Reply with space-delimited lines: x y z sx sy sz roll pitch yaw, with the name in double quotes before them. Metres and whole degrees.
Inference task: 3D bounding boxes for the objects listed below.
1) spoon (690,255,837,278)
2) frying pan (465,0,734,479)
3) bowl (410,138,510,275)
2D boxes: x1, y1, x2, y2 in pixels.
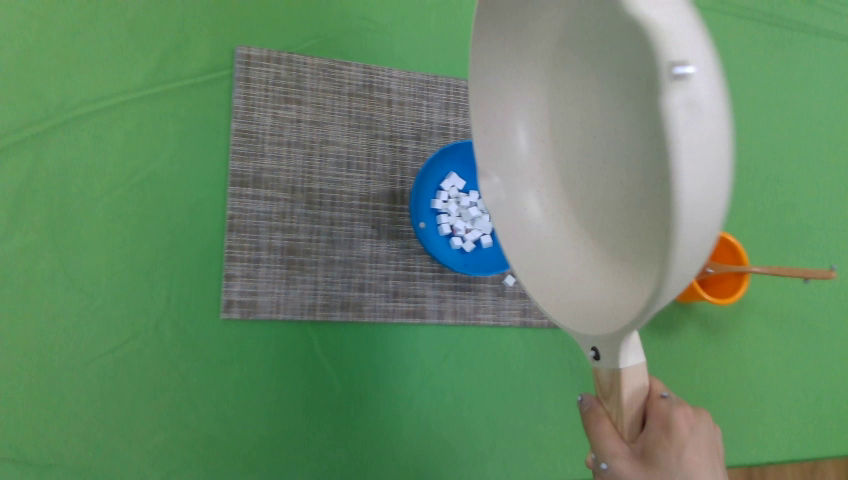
"spoon" 0.394 0.033 0.746 0.022 0.192 0.041 28 69 -58
"frying pan" 0.124 0.026 0.434 0.103 0.306 0.486 -5 84 -13
"bowl" 0.049 -0.032 0.682 0.152 0.077 0.151 3 81 -16
